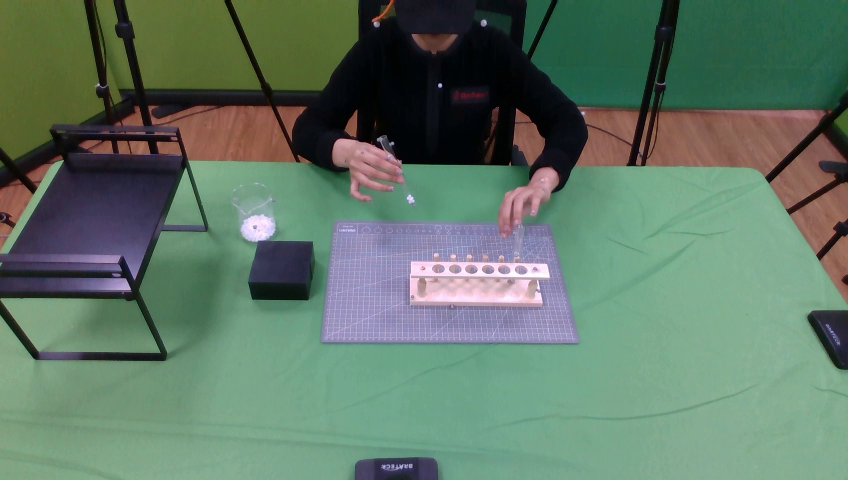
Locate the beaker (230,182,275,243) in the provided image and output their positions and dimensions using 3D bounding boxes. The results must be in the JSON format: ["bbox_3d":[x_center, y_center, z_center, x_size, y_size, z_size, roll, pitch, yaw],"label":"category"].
[{"bbox_3d":[-0.328,-0.049,1.166,0.074,0.101,0.083,2,47,-2],"label":"beaker"}]

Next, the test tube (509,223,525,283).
[{"bbox_3d":[0.165,0.025,1.077,0.017,0.151,0.017,-1,47,1],"label":"test tube"}]

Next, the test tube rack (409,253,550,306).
[{"bbox_3d":[0.095,0.067,1.093,0.242,0.085,0.066,1,47,-3],"label":"test tube rack"}]

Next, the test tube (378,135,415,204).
[{"bbox_3d":[-0.050,-0.130,1.141,0.017,0.151,0.017,-18,31,11],"label":"test tube"}]
